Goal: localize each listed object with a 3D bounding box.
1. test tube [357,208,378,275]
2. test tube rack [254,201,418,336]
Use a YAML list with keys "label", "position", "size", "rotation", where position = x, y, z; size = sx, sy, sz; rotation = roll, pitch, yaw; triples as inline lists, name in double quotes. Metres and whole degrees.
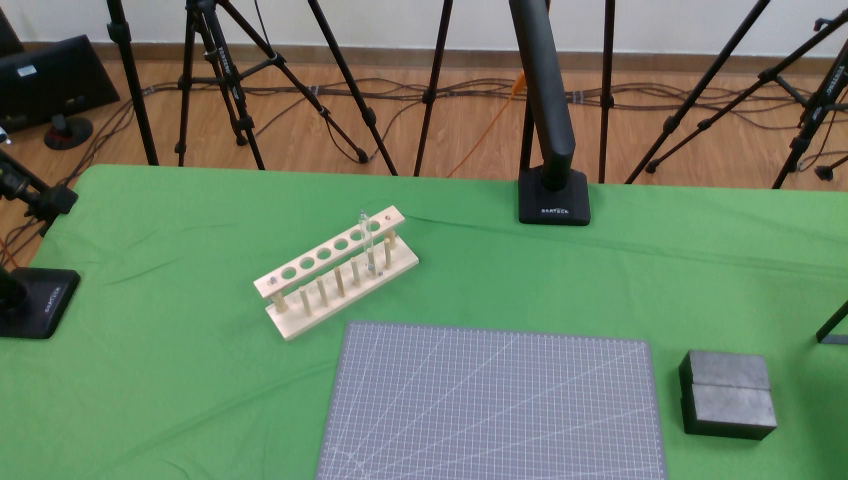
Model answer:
- label: "test tube"
  position: [-0.083, 0.005, 0.899]
  size: [0.017, 0.151, 0.017]
  rotation: [-1, 52, 2]
- label: "test tube rack"
  position: [-0.128, 0.042, 0.929]
  size: [0.242, 0.086, 0.066]
  rotation: [-30, 58, -19]
